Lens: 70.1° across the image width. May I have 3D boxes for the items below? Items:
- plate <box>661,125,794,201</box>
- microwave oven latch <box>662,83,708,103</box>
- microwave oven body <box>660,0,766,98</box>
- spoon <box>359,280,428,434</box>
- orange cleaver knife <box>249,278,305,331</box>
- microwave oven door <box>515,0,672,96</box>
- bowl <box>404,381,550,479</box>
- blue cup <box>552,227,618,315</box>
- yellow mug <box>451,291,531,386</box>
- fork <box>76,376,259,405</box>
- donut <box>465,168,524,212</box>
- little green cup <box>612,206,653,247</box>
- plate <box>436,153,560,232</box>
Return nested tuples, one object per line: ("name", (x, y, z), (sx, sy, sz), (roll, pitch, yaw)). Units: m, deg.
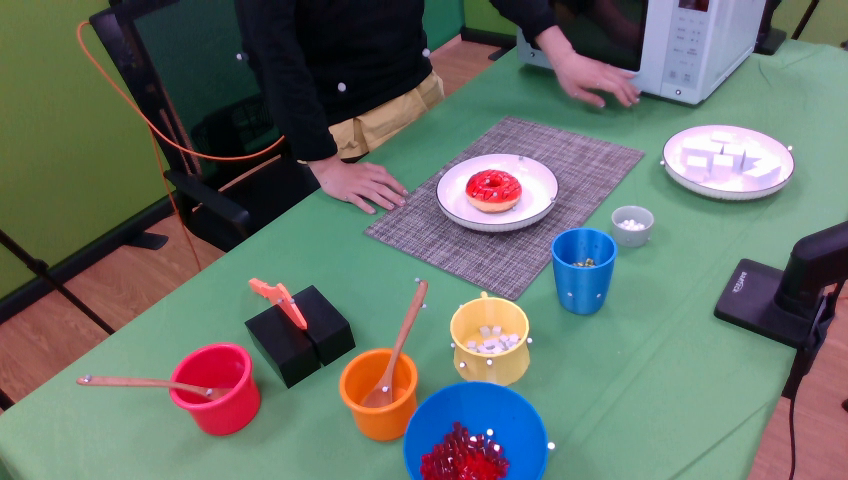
("plate", (0.513, -0.128, 1.035), (0.207, 0.039, 0.206), (-4, 40, 4))
("microwave oven latch", (0.517, -0.296, 1.204), (0.078, 0.029, 0.030), (27, 52, 35))
("microwave oven body", (0.472, -0.513, 1.317), (0.438, 0.261, 0.327), (26, 51, 34))
("spoon", (-0.032, 0.138, 0.719), (0.041, 0.193, 0.022), (22, 4, 29))
("orange cleaver knife", (-0.210, 0.089, 0.856), (0.012, 0.077, 0.210), (-28, 15, -25))
("microwave oven door", (0.343, -0.455, 1.259), (0.353, 0.245, 0.039), (26, 51, 33))
("bowl", (0.058, 0.235, 0.645), (0.151, 0.077, 0.150), (-4, 39, 4))
("blue cup", (0.218, 0.047, 0.825), (0.092, 0.100, 0.092), (-6, 39, 5))
("yellow mug", (0.085, 0.120, 0.786), (0.100, 0.064, 0.130), (-7, 39, 1))
("fork", (-0.295, 0.176, 0.716), (0.209, 0.018, 0.028), (19, 27, -37))
("donut", (0.119, -0.084, 1.021), (0.099, 0.048, 0.098), (-3, 39, 3))
("little green cup", (0.321, -0.019, 0.936), (0.061, 0.039, 0.061), (-4, 41, 4))
("plate", (0.125, -0.078, 1.029), (0.209, 0.038, 0.208), (-4, 40, 4))
